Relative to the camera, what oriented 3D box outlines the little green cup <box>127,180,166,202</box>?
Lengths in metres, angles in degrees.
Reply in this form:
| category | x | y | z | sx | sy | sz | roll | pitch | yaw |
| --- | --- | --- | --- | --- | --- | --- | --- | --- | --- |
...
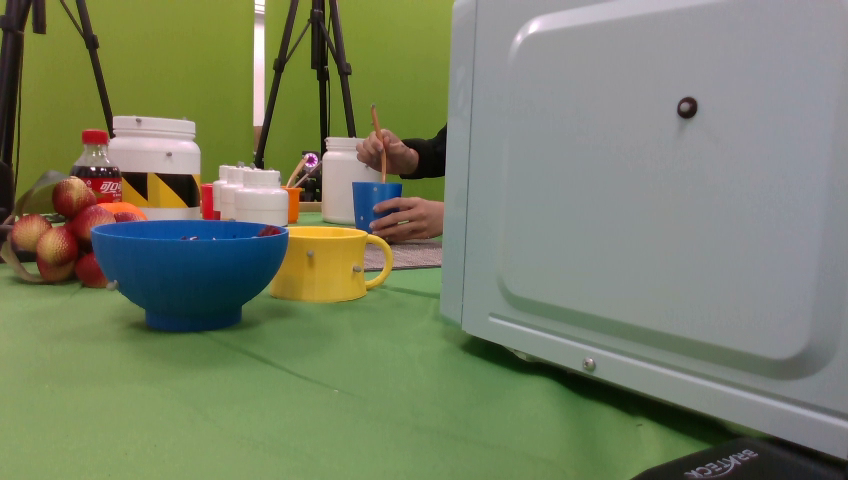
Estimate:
| category | x | y | z | sx | sy | sz | roll | pitch | yaw |
| --- | --- | --- | --- | --- | --- | --- | --- | --- | --- |
| little green cup | -0.485 | -0.086 | 1.061 | 0.061 | 0.038 | 0.061 | 1 | 7 | 0 |

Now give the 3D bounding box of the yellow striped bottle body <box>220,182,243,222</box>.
| category | x | y | z | sx | sy | sz | roll | pitch | yaw |
| --- | --- | --- | --- | --- | --- | --- | --- | --- | --- |
| yellow striped bottle body | -0.246 | -0.036 | 0.825 | 0.063 | 0.120 | 0.063 | 3 | 8 | 0 |

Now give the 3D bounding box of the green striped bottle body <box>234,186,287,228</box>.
| category | x | y | z | sx | sy | sz | roll | pitch | yaw |
| --- | --- | --- | --- | --- | --- | --- | --- | --- | --- |
| green striped bottle body | -0.201 | -0.023 | 0.743 | 0.063 | 0.119 | 0.063 | 2 | 7 | 0 |

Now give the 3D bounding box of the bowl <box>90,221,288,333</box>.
| category | x | y | z | sx | sy | sz | roll | pitch | yaw |
| --- | --- | --- | --- | --- | --- | --- | --- | --- | --- |
| bowl | -0.190 | 0.029 | 0.500 | 0.151 | 0.077 | 0.151 | 3 | 7 | 0 |

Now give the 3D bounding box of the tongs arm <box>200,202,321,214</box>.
| category | x | y | z | sx | sy | sz | roll | pitch | yaw |
| --- | --- | --- | --- | --- | --- | --- | --- | --- | --- |
| tongs arm | -0.380 | -0.076 | 1.420 | 0.387 | 0.026 | 0.050 | -3 | 5 | -42 |

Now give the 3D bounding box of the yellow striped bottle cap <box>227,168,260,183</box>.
| category | x | y | z | sx | sy | sz | roll | pitch | yaw |
| --- | --- | --- | --- | --- | --- | --- | --- | --- | --- |
| yellow striped bottle cap | -0.243 | -0.087 | 0.818 | 0.044 | 0.018 | 0.044 | 3 | 6 | 0 |

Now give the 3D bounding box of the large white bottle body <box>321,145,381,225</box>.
| category | x | y | z | sx | sy | sz | roll | pitch | yaw |
| --- | --- | --- | --- | --- | --- | --- | --- | --- | --- |
| large white bottle body | -0.162 | -0.131 | 1.340 | 0.131 | 0.184 | 0.130 | 2 | 8 | 0 |

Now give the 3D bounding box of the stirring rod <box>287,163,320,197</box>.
| category | x | y | z | sx | sy | sz | roll | pitch | yaw |
| --- | --- | --- | --- | --- | --- | --- | --- | --- | --- |
| stirring rod | -0.283 | -0.107 | 1.298 | 0.014 | 0.006 | 0.176 | 10 | 52 | 51 |

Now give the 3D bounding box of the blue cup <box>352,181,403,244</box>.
| category | x | y | z | sx | sy | sz | roll | pitch | yaw |
| --- | --- | --- | --- | --- | --- | --- | --- | --- | --- |
| blue cup | -0.081 | -0.046 | 1.013 | 0.093 | 0.100 | 0.092 | 3 | 7 | 0 |

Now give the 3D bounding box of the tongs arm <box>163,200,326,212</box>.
| category | x | y | z | sx | sy | sz | roll | pitch | yaw |
| --- | --- | --- | --- | --- | --- | --- | --- | --- | --- |
| tongs arm | -0.433 | -0.084 | 1.490 | 0.389 | 0.027 | 0.028 | -1 | 1 | -27 |

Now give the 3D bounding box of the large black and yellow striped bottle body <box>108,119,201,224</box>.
| category | x | y | z | sx | sy | sz | roll | pitch | yaw |
| --- | --- | --- | --- | --- | --- | --- | --- | --- | --- |
| large black and yellow striped bottle body | -0.412 | -0.088 | 0.930 | 0.131 | 0.184 | 0.130 | 3 | 7 | 0 |

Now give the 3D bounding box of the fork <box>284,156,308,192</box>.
| category | x | y | z | sx | sy | sz | roll | pitch | yaw |
| --- | --- | --- | --- | --- | --- | --- | --- | --- | --- |
| fork | -0.295 | -0.116 | 1.323 | 0.028 | 0.019 | 0.207 | 1 | 50 | 21 |

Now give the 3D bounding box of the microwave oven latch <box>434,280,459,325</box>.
| category | x | y | z | sx | sy | sz | roll | pitch | yaw |
| --- | --- | --- | --- | --- | --- | --- | --- | --- | --- |
| microwave oven latch | 0.044 | 0.045 | 0.470 | 0.079 | 0.029 | 0.030 | -2 | 8 | -39 |

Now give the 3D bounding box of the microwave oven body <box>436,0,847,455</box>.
| category | x | y | z | sx | sy | sz | roll | pitch | yaw |
| --- | --- | --- | --- | --- | --- | --- | --- | --- | --- |
| microwave oven body | 0.279 | -0.040 | 0.465 | 0.444 | 0.260 | 0.324 | -3 | 9 | -41 |

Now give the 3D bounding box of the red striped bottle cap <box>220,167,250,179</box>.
| category | x | y | z | sx | sy | sz | roll | pitch | yaw |
| --- | --- | --- | --- | --- | --- | --- | --- | --- | --- |
| red striped bottle cap | -0.281 | -0.100 | 0.901 | 0.044 | 0.017 | 0.044 | -1 | 5 | 0 |

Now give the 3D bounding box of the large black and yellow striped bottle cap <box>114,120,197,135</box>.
| category | x | y | z | sx | sy | sz | roll | pitch | yaw |
| --- | --- | --- | --- | --- | --- | --- | --- | --- | --- |
| large black and yellow striped bottle cap | -0.407 | -0.171 | 0.920 | 0.115 | 0.019 | 0.115 | 2 | 9 | 0 |

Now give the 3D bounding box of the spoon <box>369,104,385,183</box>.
| category | x | y | z | sx | sy | sz | roll | pitch | yaw |
| --- | --- | --- | --- | --- | --- | --- | --- | --- | --- |
| spoon | -0.072 | -0.135 | 1.019 | 0.022 | 0.193 | 0.041 | -6 | -4 | -3 |

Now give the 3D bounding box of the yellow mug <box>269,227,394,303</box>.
| category | x | y | z | sx | sy | sz | roll | pitch | yaw |
| --- | --- | --- | --- | --- | --- | --- | --- | --- | --- |
| yellow mug | -0.094 | 0.023 | 0.629 | 0.131 | 0.064 | 0.099 | 0 | 7 | -22 |

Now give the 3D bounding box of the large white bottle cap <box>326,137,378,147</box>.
| category | x | y | z | sx | sy | sz | roll | pitch | yaw |
| --- | --- | --- | --- | --- | --- | --- | --- | --- | --- |
| large white bottle cap | -0.158 | -0.214 | 1.329 | 0.115 | 0.018 | 0.115 | 2 | 8 | 0 |

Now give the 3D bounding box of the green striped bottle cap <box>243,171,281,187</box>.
| category | x | y | z | sx | sy | sz | roll | pitch | yaw |
| --- | --- | --- | --- | --- | --- | --- | --- | --- | --- |
| green striped bottle cap | -0.198 | -0.074 | 0.736 | 0.044 | 0.020 | 0.044 | 1 | 7 | 0 |

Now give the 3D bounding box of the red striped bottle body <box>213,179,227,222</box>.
| category | x | y | z | sx | sy | sz | roll | pitch | yaw |
| --- | --- | --- | --- | --- | --- | --- | --- | --- | --- |
| red striped bottle body | -0.284 | -0.048 | 0.910 | 0.063 | 0.119 | 0.063 | 3 | 12 | 0 |

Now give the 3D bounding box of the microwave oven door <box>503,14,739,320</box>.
| category | x | y | z | sx | sy | sz | roll | pitch | yaw |
| --- | --- | --- | --- | --- | --- | --- | --- | --- | --- |
| microwave oven door | 0.218 | -0.065 | 0.600 | 0.358 | 0.243 | 0.039 | -4 | 10 | -41 |

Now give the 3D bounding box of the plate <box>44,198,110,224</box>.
| category | x | y | z | sx | sy | sz | roll | pitch | yaw |
| --- | --- | --- | --- | --- | --- | --- | --- | --- | --- |
| plate | -0.617 | -0.056 | 1.179 | 0.209 | 0.038 | 0.209 | 3 | 7 | 0 |
